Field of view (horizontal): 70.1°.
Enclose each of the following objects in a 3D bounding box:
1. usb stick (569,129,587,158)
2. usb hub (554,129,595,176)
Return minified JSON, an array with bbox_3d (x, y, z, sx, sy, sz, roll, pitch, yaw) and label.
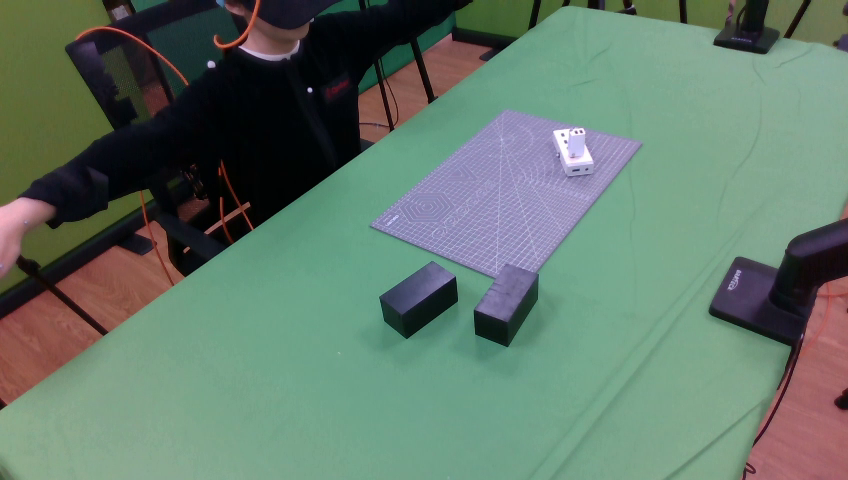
[{"bbox_3d":[0.273,-0.166,1.075,0.027,0.059,0.021,-5,40,-2],"label":"usb stick"},{"bbox_3d":[0.278,-0.163,1.119,0.049,0.025,0.124,-6,41,2],"label":"usb hub"}]
